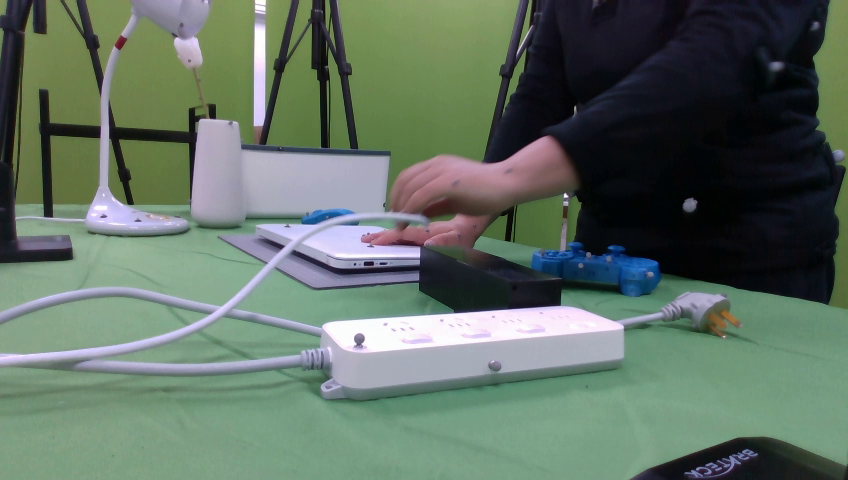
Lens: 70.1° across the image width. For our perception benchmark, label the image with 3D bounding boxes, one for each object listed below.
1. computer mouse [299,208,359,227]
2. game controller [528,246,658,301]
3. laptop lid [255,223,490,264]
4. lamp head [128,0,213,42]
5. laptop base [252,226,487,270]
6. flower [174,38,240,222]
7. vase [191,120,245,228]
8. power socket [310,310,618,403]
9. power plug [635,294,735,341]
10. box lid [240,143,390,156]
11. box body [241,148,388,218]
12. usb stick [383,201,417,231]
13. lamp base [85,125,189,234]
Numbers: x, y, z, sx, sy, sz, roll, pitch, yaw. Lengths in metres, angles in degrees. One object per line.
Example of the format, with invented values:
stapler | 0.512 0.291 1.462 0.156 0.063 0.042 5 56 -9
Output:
computer mouse | -0.195 -0.045 1.240 0.117 0.041 0.063 0 10 11
game controller | 0.202 0.037 0.732 0.155 0.051 0.097 5 10 19
laptop lid | -0.093 0.002 0.911 0.243 0.013 0.355 2 7 -30
lamp head | -0.423 -0.394 0.980 0.123 0.112 0.112 20 7 -3
laptop base | -0.096 0.012 0.910 0.237 0.023 0.352 3 6 -32
flower | -0.400 -0.207 1.140 0.038 0.361 0.044 -15 3 43
vase | -0.389 -0.123 1.142 0.098 0.200 0.098 3 9 0
power socket | 0.033 0.074 0.415 0.228 0.032 0.072 -1 7 -24
power plug | 0.232 0.076 0.534 0.072 0.035 0.052 -29 38 -5
box lid | -0.295 -0.216 1.463 0.373 0.015 0.262 -1 8 -29
box body | -0.297 -0.143 1.474 0.366 0.160 0.253 -1 9 -30
usb stick | -0.029 -0.028 0.675 0.021 0.027 0.059 4 7 -26
lamp base | -0.498 -0.105 1.026 0.179 0.180 0.160 1 7 3
